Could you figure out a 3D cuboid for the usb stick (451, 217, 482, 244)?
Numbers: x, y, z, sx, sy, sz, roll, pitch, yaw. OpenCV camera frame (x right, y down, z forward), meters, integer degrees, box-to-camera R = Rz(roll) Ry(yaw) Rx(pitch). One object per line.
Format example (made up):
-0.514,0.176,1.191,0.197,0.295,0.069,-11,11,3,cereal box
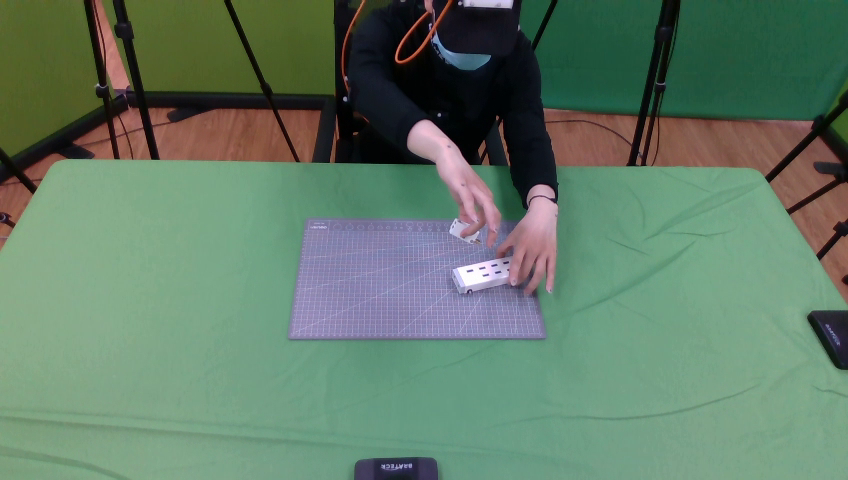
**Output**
0.076,-0.014,1.027,0.059,0.027,0.021,28,19,-15,usb stick

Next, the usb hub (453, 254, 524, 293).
0.121,0.063,1.135,0.125,0.025,0.049,-12,48,-13,usb hub
